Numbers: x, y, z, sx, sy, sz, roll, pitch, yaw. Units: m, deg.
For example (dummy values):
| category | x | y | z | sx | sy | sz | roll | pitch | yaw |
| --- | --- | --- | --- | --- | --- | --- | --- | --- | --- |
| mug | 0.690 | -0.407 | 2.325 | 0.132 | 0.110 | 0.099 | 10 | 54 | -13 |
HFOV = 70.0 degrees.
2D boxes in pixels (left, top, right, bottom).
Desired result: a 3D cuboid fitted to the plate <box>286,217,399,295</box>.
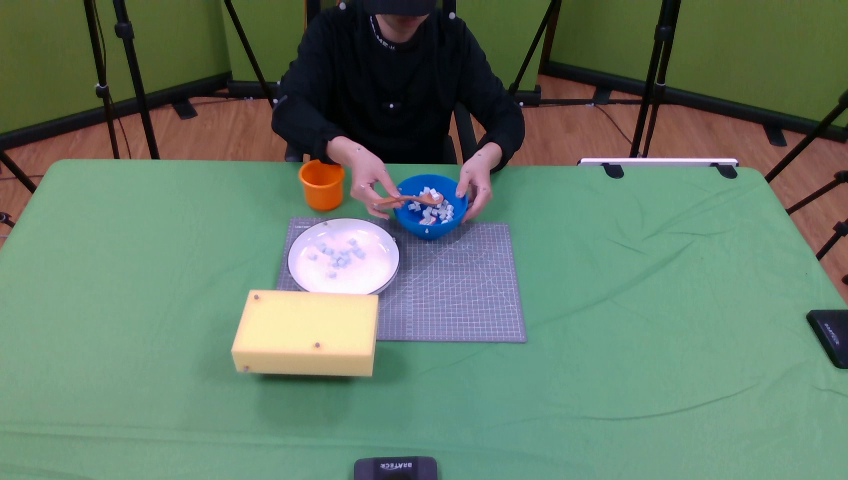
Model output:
| category | x | y | z | sx | sy | sz | roll | pitch | yaw |
| --- | --- | --- | --- | --- | --- | --- | --- | --- | --- |
| plate | -0.150 | 0.041 | 1.131 | 0.209 | 0.038 | 0.208 | 2 | 46 | -2 |

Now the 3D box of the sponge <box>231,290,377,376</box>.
| category | x | y | z | sx | sy | sz | roll | pitch | yaw |
| --- | --- | --- | --- | --- | --- | --- | --- | --- | --- |
| sponge | -0.180 | 0.144 | 0.949 | 0.207 | 0.061 | 0.117 | 2 | 46 | -2 |

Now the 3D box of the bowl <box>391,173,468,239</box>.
| category | x | y | z | sx | sy | sz | roll | pitch | yaw |
| --- | --- | --- | --- | --- | --- | --- | --- | --- | --- |
| bowl | 0.008 | -0.054 | 1.198 | 0.151 | 0.077 | 0.150 | 2 | 47 | -2 |

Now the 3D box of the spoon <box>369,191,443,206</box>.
| category | x | y | z | sx | sy | sz | roll | pitch | yaw |
| --- | --- | --- | --- | --- | --- | --- | --- | --- | --- |
| spoon | -0.033 | -0.078 | 1.140 | 0.041 | 0.022 | 0.194 | 36 | 26 | 32 |
